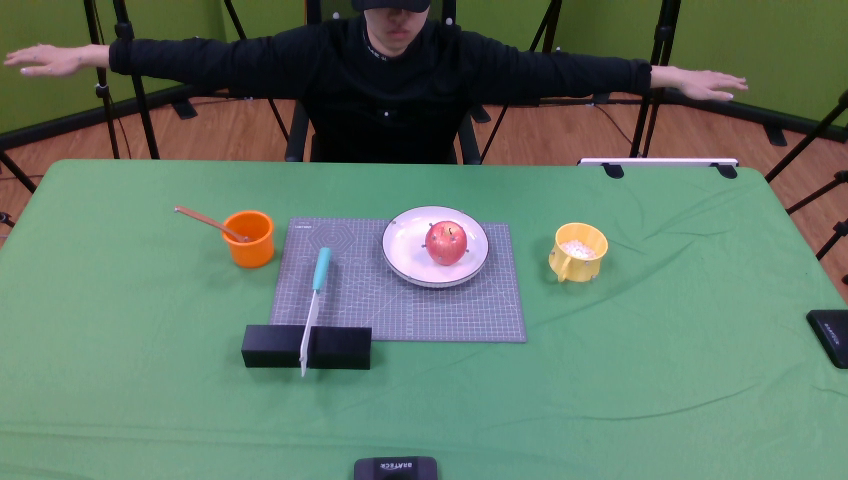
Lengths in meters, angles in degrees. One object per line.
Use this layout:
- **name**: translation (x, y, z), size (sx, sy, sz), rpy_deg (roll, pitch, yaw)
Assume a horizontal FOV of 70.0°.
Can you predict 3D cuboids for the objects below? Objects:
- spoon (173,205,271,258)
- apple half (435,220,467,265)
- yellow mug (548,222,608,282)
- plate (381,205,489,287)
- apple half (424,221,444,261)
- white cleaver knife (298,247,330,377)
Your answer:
- **spoon**: translation (-0.362, -0.017, 1.098), size (0.021, 0.195, 0.041), rpy_deg (-32, 42, 27)
- **apple half**: translation (0.054, 0.009, 1.142), size (0.053, 0.075, 0.080), rpy_deg (14, 44, 3)
- **yellow mug**: translation (0.287, 0.031, 1.159), size (0.099, 0.064, 0.130), rpy_deg (27, 51, 21)
- **plate**: translation (0.021, 0.015, 1.170), size (0.209, 0.038, 0.208), rpy_deg (2, 46, -2)
- **apple half**: translation (0.016, 0.002, 1.145), size (0.033, 0.081, 0.081), rpy_deg (14, 46, 2)
- **white cleaver knife**: translation (-0.191, 0.111, 1.037), size (0.021, 0.066, 0.285), rpy_deg (5, 36, -2)
